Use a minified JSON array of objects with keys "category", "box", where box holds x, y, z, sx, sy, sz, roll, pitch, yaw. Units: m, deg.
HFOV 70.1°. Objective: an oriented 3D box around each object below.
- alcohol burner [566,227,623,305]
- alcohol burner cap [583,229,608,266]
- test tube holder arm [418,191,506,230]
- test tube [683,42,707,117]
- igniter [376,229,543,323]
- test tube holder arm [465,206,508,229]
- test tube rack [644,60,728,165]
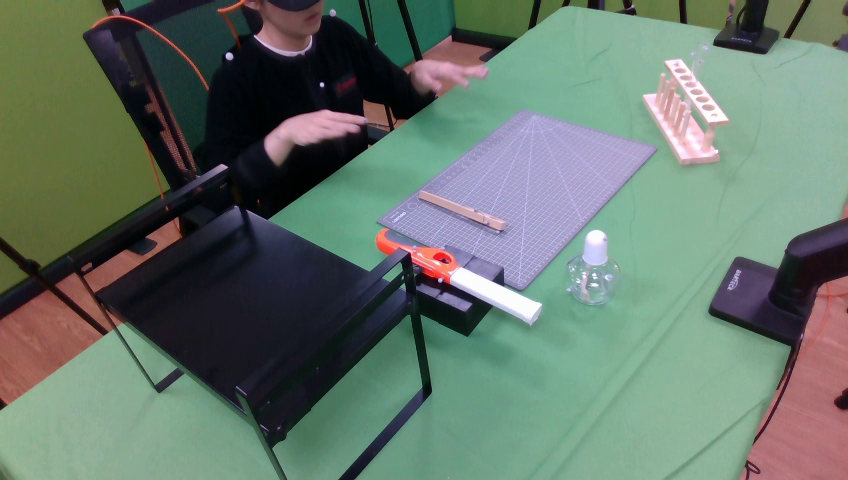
[{"category":"alcohol burner","box":[0.236,0.031,0.833,0.078,0.119,0.077,-6,39,5]},{"category":"alcohol burner cap","box":[0.233,0.007,0.814,0.034,0.048,0.033,-4,40,4]},{"category":"test tube holder arm","box":[0.061,-0.052,1.024,0.177,0.015,0.013,23,13,31]},{"category":"test tube","box":[0.497,-0.292,1.114,0.017,0.151,0.017,-4,44,4]},{"category":"igniter","box":[0.038,0.044,0.843,0.274,0.025,0.057,25,47,29]},{"category":"test tube holder arm","box":[0.100,-0.038,1.005,0.087,0.015,0.010,23,14,32]},{"category":"test tube rack","box":[0.485,-0.246,1.139,0.067,0.085,0.241,-5,41,4]}]
